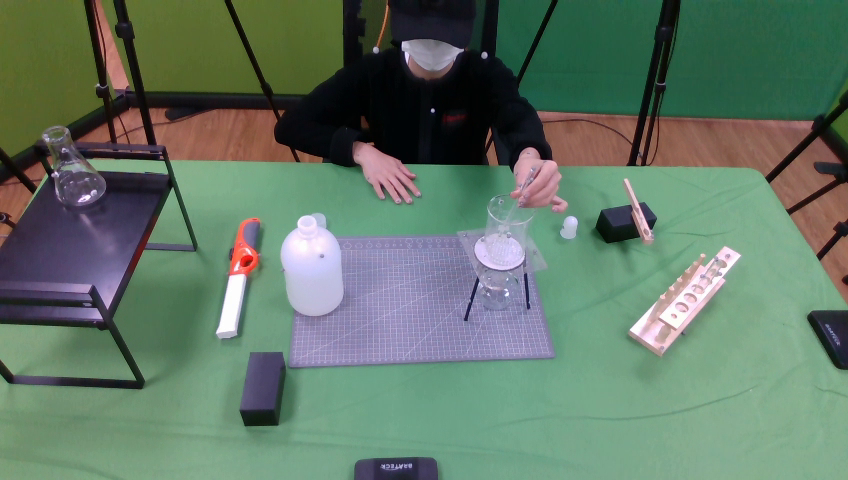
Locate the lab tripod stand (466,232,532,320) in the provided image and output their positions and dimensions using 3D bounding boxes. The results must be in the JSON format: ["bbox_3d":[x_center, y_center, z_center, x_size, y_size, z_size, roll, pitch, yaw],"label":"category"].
[{"bbox_3d":[0.125,0.059,1.065,0.148,0.132,0.147,1,45,0],"label":"lab tripod stand"}]

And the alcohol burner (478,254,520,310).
[{"bbox_3d":[0.133,0.068,1.071,0.078,0.120,0.077,0,47,0],"label":"alcohol burner"}]

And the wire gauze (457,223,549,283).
[{"bbox_3d":[0.131,0.016,1.017,0.121,0.011,0.124,-10,44,-15],"label":"wire gauze"}]

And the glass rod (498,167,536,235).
[{"bbox_3d":[0.142,-0.057,0.941,0.008,0.200,0.008,4,63,-7],"label":"glass rod"}]

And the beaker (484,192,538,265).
[{"bbox_3d":[0.138,-0.016,0.980,0.084,0.101,0.073,-6,45,-9],"label":"beaker"}]

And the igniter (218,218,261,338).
[{"bbox_3d":[-0.337,0.060,1.111,0.057,0.025,0.274,-8,46,4],"label":"igniter"}]

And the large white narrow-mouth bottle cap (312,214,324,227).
[{"bbox_3d":[-0.219,-0.033,1.214,0.038,0.024,0.037,2,46,-2],"label":"large white narrow-mouth bottle cap"}]

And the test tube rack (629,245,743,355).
[{"bbox_3d":[0.474,0.095,1.091,0.242,0.085,0.066,-34,56,-31],"label":"test tube rack"}]

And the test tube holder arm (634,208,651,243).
[{"bbox_3d":[0.428,-0.030,1.189,0.010,0.015,0.087,2,47,-3],"label":"test tube holder arm"}]

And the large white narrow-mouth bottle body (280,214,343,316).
[{"bbox_3d":[-0.190,0.035,1.025,0.102,0.195,0.101,2,46,-2],"label":"large white narrow-mouth bottle body"}]

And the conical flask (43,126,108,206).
[{"bbox_3d":[-0.555,-0.119,0.953,0.075,0.122,0.075,2,46,-2],"label":"conical flask"}]

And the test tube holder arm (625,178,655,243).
[{"bbox_3d":[0.433,-0.062,1.220,0.013,0.015,0.177,2,47,-3],"label":"test tube holder arm"}]

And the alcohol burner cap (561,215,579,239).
[{"bbox_3d":[0.299,-0.030,1.231,0.034,0.048,0.033,1,47,0],"label":"alcohol burner cap"}]

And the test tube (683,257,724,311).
[{"bbox_3d":[0.476,0.080,1.037,0.017,0.151,0.017,1,50,-1],"label":"test tube"}]
